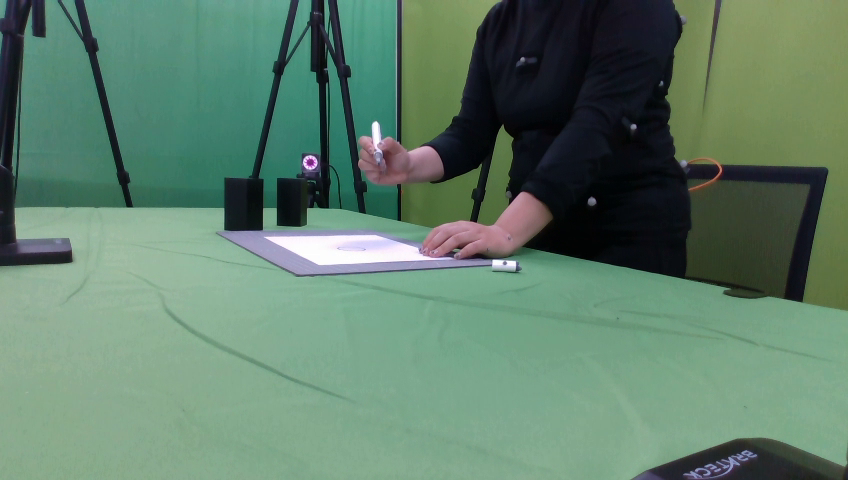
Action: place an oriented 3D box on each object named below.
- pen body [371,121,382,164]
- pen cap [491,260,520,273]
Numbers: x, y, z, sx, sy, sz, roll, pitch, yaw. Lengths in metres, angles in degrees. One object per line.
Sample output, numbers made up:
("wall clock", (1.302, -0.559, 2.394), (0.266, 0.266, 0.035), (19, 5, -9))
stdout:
("pen body", (-0.084, -0.171, 1.069), (0.017, 0.017, 0.143), (2, 37, -8))
("pen cap", (0.110, 0.036, 0.813), (0.038, 0.017, 0.017), (3, 7, 7))
